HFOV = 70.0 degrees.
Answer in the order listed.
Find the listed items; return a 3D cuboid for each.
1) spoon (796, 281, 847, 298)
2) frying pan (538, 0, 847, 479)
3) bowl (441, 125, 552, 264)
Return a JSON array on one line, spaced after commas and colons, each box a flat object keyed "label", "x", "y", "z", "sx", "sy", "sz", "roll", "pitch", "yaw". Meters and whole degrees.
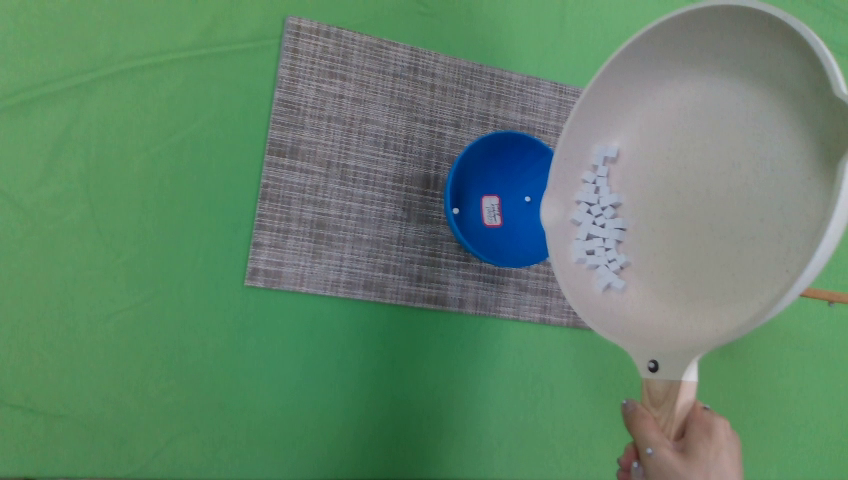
[{"label": "spoon", "x": 0.420, "y": 0.051, "z": 0.742, "sx": 0.022, "sy": 0.192, "sz": 0.041, "roll": 32, "pitch": 70, "yaw": -58}, {"label": "frying pan", "x": 0.200, "y": 0.047, "z": 0.495, "sx": 0.103, "sy": 0.306, "sz": 0.485, "roll": 17, "pitch": 76, "yaw": -25}, {"label": "bowl", "x": 0.082, "y": -0.045, "z": 0.678, "sx": 0.152, "sy": 0.076, "sz": 0.151, "roll": 2, "pitch": 83, "yaw": -17}]
